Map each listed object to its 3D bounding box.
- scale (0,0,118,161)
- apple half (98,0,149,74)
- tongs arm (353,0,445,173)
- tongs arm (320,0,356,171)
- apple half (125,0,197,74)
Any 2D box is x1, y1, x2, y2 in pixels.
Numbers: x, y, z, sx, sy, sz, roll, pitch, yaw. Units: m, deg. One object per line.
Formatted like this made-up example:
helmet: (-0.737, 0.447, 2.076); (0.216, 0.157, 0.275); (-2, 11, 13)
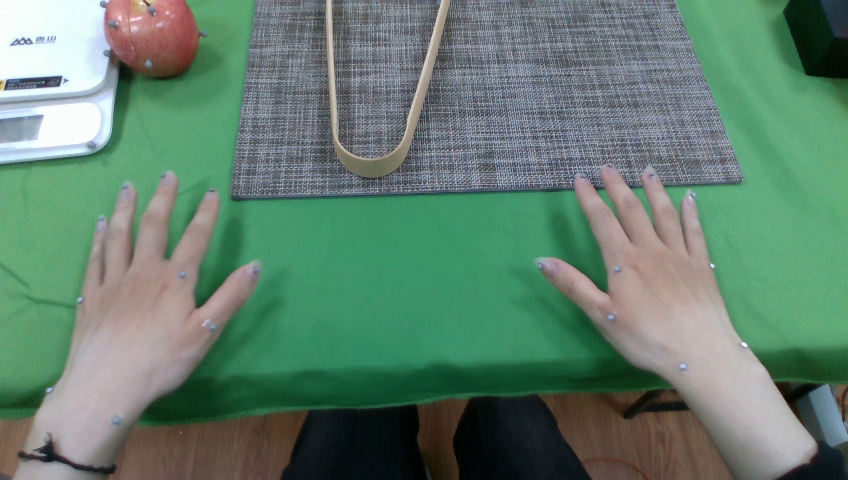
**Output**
scale: (-0.365, -0.161, 0.565); (0.149, 0.032, 0.199); (-7, 61, -5)
apple half: (-0.280, -0.191, 0.561); (0.033, 0.082, 0.080); (-10, 60, -10)
tongs arm: (-0.006, -0.225, 0.611); (0.051, 0.027, 0.381); (9, 61, 2)
tongs arm: (-0.091, -0.230, 0.613); (0.028, 0.028, 0.384); (-2, 60, -7)
apple half: (-0.242, -0.198, 0.568); (0.053, 0.075, 0.080); (-10, 57, -10)
